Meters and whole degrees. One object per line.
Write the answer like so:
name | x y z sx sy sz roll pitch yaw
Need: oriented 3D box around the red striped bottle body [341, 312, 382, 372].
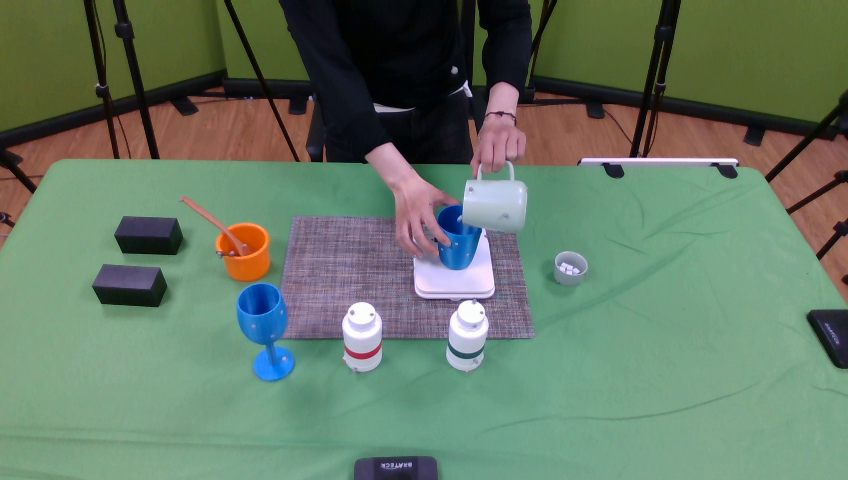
red striped bottle body | -0.100 0.154 0.972 0.063 0.120 0.062 2 46 -2

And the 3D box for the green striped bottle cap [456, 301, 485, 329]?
green striped bottle cap | 0.073 0.116 0.943 0.044 0.020 0.044 3 46 -2

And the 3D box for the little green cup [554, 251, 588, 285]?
little green cup | 0.277 0.055 1.151 0.061 0.039 0.061 1 46 -1

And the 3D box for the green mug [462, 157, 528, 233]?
green mug | 0.122 -0.078 1.028 0.105 0.125 0.092 6 6 7

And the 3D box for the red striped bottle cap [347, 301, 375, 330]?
red striped bottle cap | -0.097 0.116 0.934 0.044 0.018 0.044 2 49 -2

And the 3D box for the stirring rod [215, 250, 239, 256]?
stirring rod | -0.339 0.024 1.059 0.014 0.176 0.006 18 86 -6

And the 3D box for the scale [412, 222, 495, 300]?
scale | 0.052 0.031 1.158 0.149 0.032 0.199 1 46 -4

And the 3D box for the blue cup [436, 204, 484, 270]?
blue cup | 0.061 0.000 1.098 0.093 0.101 0.092 1 44 -1

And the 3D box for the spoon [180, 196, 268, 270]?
spoon | -0.360 -0.014 1.094 0.021 0.194 0.041 -27 26 31

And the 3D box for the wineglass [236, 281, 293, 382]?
wineglass | -0.243 0.143 0.934 0.074 0.173 0.073 2 46 -2

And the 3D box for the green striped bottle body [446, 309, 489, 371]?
green striped bottle body | 0.070 0.155 0.984 0.063 0.120 0.063 2 45 -2
